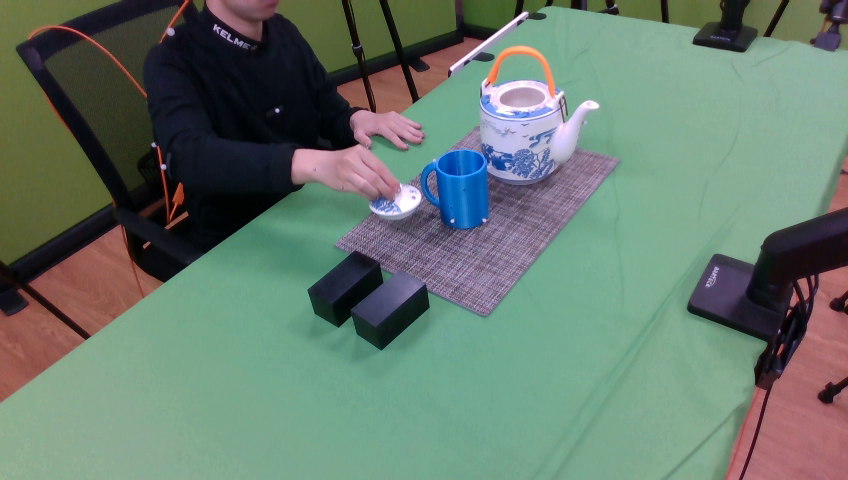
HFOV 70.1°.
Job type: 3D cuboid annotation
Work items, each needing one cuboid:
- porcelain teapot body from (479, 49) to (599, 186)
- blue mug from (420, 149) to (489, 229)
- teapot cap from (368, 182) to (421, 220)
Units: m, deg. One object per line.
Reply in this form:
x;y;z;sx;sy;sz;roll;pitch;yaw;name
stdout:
0.192;-0.208;1.023;0.204;0.226;0.145;16;46;25;porcelain teapot body
0.048;-0.085;0.991;0.116;0.106;0.082;9;43;19;blue mug
-0.047;-0.066;0.937;0.085;0.044;0.085;-5;39;5;teapot cap
